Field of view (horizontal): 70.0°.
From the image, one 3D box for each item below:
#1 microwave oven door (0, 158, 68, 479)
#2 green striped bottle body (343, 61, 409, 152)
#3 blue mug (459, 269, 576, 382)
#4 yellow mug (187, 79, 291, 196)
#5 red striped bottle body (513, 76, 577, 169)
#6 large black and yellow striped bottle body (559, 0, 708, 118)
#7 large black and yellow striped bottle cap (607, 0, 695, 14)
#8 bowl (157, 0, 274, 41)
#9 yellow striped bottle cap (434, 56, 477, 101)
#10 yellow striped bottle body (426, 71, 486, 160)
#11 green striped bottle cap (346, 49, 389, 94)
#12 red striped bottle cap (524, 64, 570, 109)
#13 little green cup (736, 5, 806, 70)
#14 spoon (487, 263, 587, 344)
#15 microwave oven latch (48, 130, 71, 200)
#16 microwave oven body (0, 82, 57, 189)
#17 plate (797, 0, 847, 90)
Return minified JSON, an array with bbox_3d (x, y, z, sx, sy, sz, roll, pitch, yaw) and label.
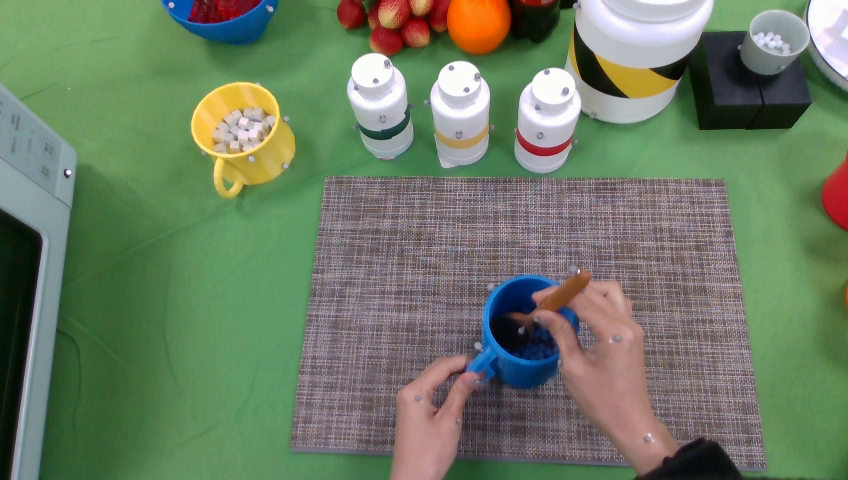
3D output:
[{"bbox_3d":[-0.411,0.077,0.518,0.039,0.245,0.353,-8,67,2],"label":"microwave oven door"},{"bbox_3d":[-0.052,-0.153,0.670,0.063,0.120,0.062,-1,67,3],"label":"green striped bottle body"},{"bbox_3d":[0.080,0.093,0.565,0.116,0.106,0.081,-36,69,-10],"label":"blue mug"},{"bbox_3d":[-0.215,-0.112,0.695,0.100,0.064,0.130,10,70,8],"label":"yellow mug"},{"bbox_3d":[0.128,-0.132,0.648,0.063,0.120,0.062,-2,66,6],"label":"red striped bottle body"},{"bbox_3d":[0.220,-0.232,0.647,0.131,0.185,0.130,-2,68,4],"label":"large black and yellow striped bottle body"},{"bbox_3d":[0.213,-0.263,0.569,0.115,0.019,0.114,-2,67,4],"label":"large black and yellow striped bottle cap"},{"bbox_3d":[-0.252,-0.309,0.770,0.151,0.077,0.150,-1,68,3],"label":"bowl"},{"bbox_3d":[0.032,-0.163,0.612,0.044,0.019,0.044,-1,69,3],"label":"yellow striped bottle cap"},{"bbox_3d":[0.036,-0.143,0.659,0.063,0.121,0.062,-2,67,5],"label":"yellow striped bottle body"},{"bbox_3d":[-0.058,-0.173,0.622,0.044,0.020,0.044,-1,68,2],"label":"green striped bottle cap"},{"bbox_3d":[0.122,-0.152,0.600,0.044,0.018,0.044,0,66,0],"label":"red striped bottle cap"},{"bbox_3d":[0.371,-0.216,0.653,0.061,0.039,0.061,0,66,1],"label":"little green cup"},{"bbox_3d":[0.093,0.058,0.511,0.041,0.194,0.021,38,69,4],"label":"spoon"},{"bbox_3d":[-0.427,-0.085,0.694,0.030,0.030,0.078,-6,68,1],"label":"microwave oven latch"},{"bbox_3d":[-0.560,0.060,0.541,0.326,0.262,0.438,-8,68,1],"label":"microwave oven body"},{"bbox_3d":[0.541,-0.243,0.707,0.209,0.038,0.207,-1,68,4],"label":"plate"}]
